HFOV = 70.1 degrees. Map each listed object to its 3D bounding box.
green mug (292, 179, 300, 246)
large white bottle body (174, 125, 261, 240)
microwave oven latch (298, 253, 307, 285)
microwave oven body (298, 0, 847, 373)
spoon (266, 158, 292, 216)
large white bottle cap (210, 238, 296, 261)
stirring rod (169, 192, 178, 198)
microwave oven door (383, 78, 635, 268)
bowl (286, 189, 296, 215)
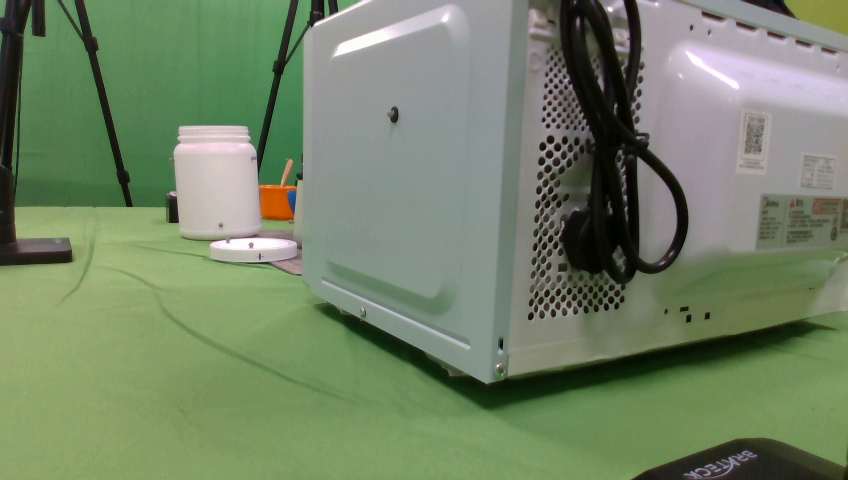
[{"bbox_3d":[-0.142,-0.040,0.942,0.126,0.105,0.092,-2,8,-33],"label":"green mug"},{"bbox_3d":[-0.349,-0.100,1.025,0.131,0.184,0.130,-1,9,0],"label":"large white bottle body"},{"bbox_3d":[-0.082,0.027,0.583,0.079,0.029,0.030,-2,7,-33],"label":"microwave oven latch"},{"bbox_3d":[0.151,-0.055,0.543,0.444,0.260,0.324,-1,7,-33],"label":"microwave oven body"},{"bbox_3d":[-0.333,-0.127,1.423,0.041,0.193,0.022,-1,-37,7],"label":"spoon"},{"bbox_3d":[-0.236,0.012,0.839,0.115,0.018,0.115,2,7,0],"label":"large white bottle cap"},{"bbox_3d":[-0.465,-0.098,1.283,0.014,0.006,0.177,42,22,17],"label":"stirring rod"},{"bbox_3d":[0.104,-0.101,0.855,0.354,0.243,0.039,6,9,27],"label":"microwave oven door"},{"bbox_3d":[-0.179,-0.051,1.115,0.151,0.077,0.151,3,8,0],"label":"bowl"}]
